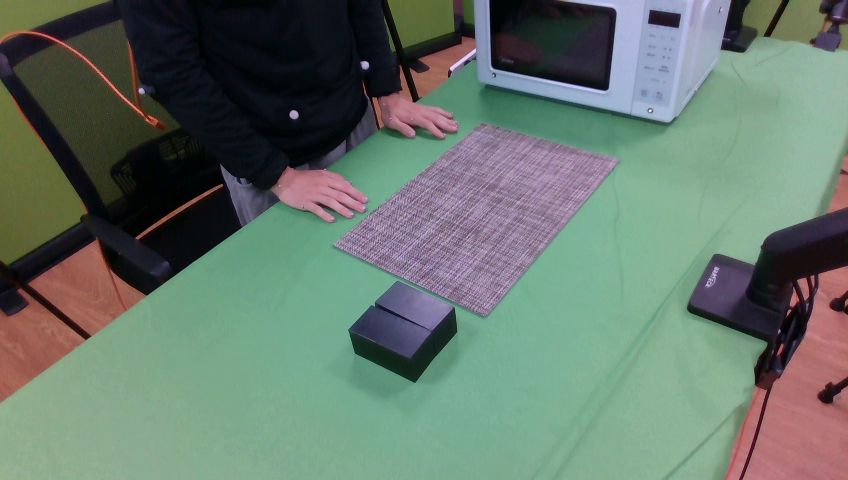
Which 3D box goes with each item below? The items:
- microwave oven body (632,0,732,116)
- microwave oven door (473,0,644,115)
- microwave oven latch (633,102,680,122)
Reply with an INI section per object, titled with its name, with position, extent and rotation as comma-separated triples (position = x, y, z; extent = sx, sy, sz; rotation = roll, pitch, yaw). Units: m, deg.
[microwave oven body]
position = 0.377, -0.462, 1.267
extent = 0.438, 0.261, 0.327
rotation = 21, 48, 30
[microwave oven door]
position = 0.257, -0.396, 1.199
extent = 0.353, 0.245, 0.039
rotation = 21, 48, 29
[microwave oven latch]
position = 0.444, -0.249, 1.157
extent = 0.078, 0.029, 0.030
rotation = 21, 49, 30
